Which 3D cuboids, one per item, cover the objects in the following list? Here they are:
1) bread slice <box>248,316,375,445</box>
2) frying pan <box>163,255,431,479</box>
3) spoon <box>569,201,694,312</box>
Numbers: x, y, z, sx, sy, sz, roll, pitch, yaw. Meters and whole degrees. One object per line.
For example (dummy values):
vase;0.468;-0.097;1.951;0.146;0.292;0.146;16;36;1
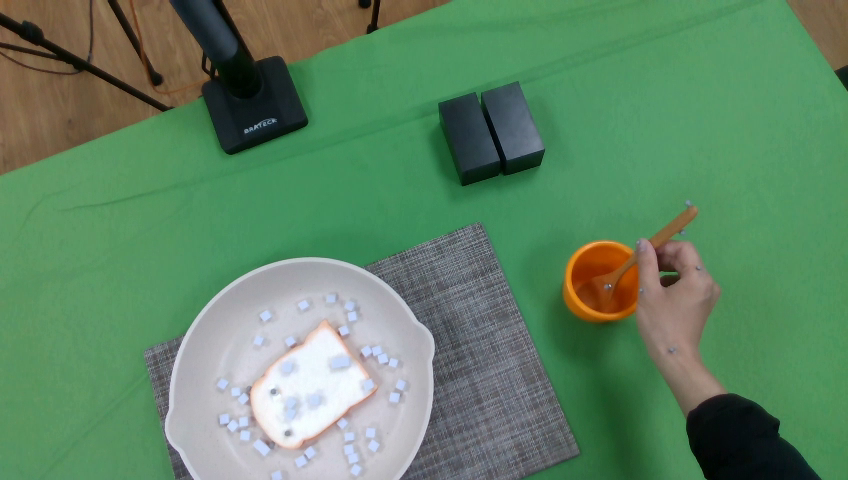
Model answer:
bread slice;-0.138;0.174;0.716;0.134;0.018;0.106;-41;77;-10
frying pan;-0.105;0.253;0.651;0.307;0.103;0.483;-19;66;-1
spoon;0.222;0.022;0.662;0.022;0.194;0.041;-9;60;-32
